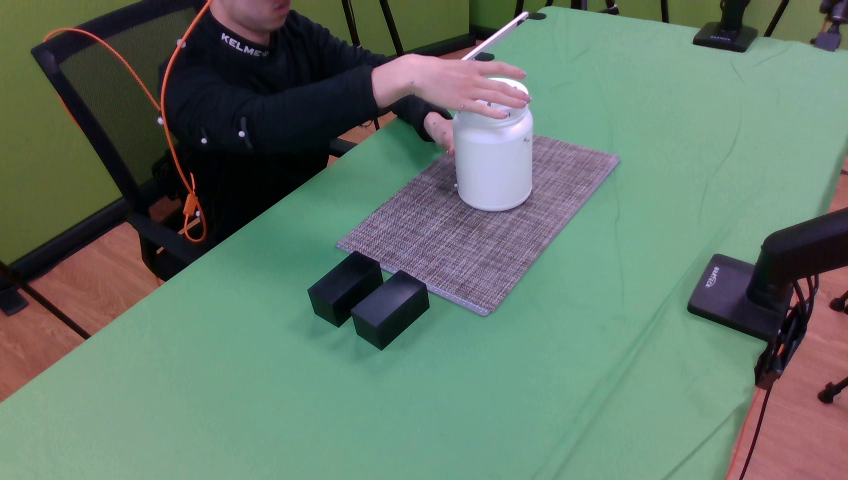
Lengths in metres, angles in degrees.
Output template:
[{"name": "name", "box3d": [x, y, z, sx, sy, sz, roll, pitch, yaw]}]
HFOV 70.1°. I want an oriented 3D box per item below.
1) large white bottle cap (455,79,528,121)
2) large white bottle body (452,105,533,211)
[{"name": "large white bottle cap", "box3d": [0.105, -0.219, 0.944, 0.115, 0.018, 0.114, -4, 40, 4]}, {"name": "large white bottle body", "box3d": [0.115, -0.155, 1.001, 0.130, 0.185, 0.130, -5, 41, 4]}]
